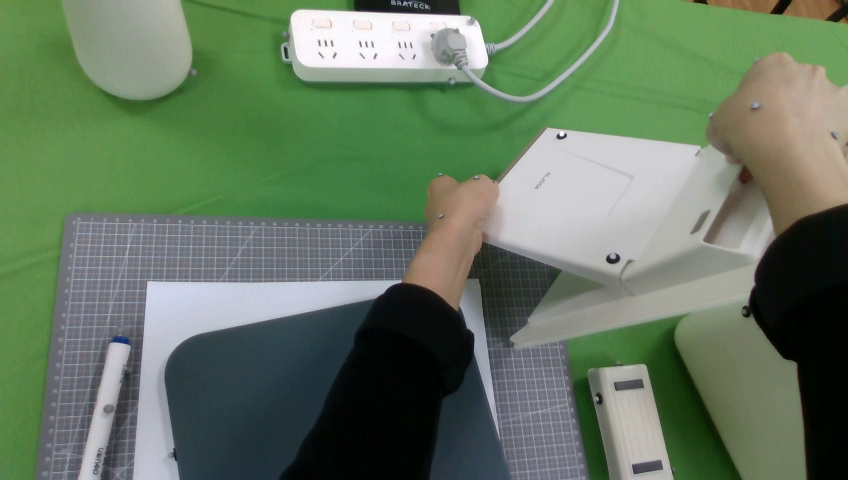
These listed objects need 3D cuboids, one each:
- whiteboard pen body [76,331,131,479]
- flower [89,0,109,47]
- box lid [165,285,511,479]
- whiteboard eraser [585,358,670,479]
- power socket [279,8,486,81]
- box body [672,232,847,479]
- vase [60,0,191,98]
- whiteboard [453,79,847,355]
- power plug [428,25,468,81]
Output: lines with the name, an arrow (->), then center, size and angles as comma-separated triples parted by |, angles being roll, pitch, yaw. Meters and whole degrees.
whiteboard pen body -> -0.244, 0.139, 0.458 | 0.017, 0.017, 0.140 | 8, 70, -13
flower -> -0.208, -0.224, 0.422 | 0.038, 0.361, 0.044 | 50, 54, -13
box lid -> -0.048, 0.227, 0.493 | 0.264, 0.015, 0.369 | -10, 74, -20
whiteboard eraser -> 0.189, 0.169, 0.570 | 0.056, 0.042, 0.112 | -2, 70, -19
power socket -> -0.038, -0.208, 0.649 | 0.227, 0.032, 0.071 | -4, 72, -19
box body -> 0.437, 0.179, 0.573 | 0.255, 0.161, 0.362 | -18, 76, -22
vase -> -0.249, -0.203, 0.492 | 0.098, 0.200, 0.097 | 5, 68, -13
whiteboard -> 0.158, -0.053, 0.492 | 0.144, 0.305, 0.216 | 44, 63, -3
power plug -> 0.022, -0.192, 0.636 | 0.035, 0.053, 0.072 | 5, 75, -15
